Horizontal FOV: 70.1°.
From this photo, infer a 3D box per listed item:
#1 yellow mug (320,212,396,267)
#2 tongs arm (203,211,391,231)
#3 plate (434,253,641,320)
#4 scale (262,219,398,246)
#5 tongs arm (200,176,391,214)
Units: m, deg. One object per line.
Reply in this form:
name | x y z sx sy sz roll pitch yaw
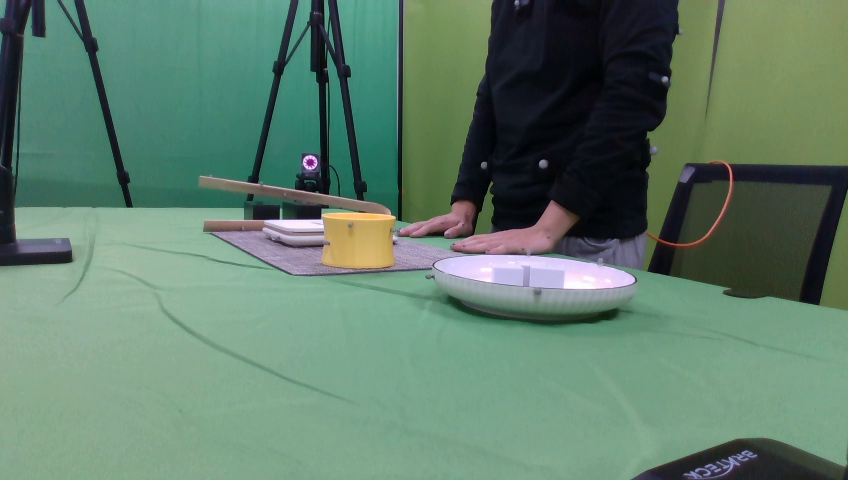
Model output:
yellow mug | -0.089 -0.004 0.825 0.100 0.064 0.131 2 6 -2
tongs arm | -0.231 -0.035 1.185 0.390 0.028 0.028 -3 33 -33
plate | 0.114 0.047 0.625 0.208 0.039 0.207 2 7 0
scale | -0.160 -0.016 1.028 0.202 0.031 0.148 -1 8 -32
tongs arm | -0.258 -0.084 1.245 0.387 0.026 0.050 6 32 -22
